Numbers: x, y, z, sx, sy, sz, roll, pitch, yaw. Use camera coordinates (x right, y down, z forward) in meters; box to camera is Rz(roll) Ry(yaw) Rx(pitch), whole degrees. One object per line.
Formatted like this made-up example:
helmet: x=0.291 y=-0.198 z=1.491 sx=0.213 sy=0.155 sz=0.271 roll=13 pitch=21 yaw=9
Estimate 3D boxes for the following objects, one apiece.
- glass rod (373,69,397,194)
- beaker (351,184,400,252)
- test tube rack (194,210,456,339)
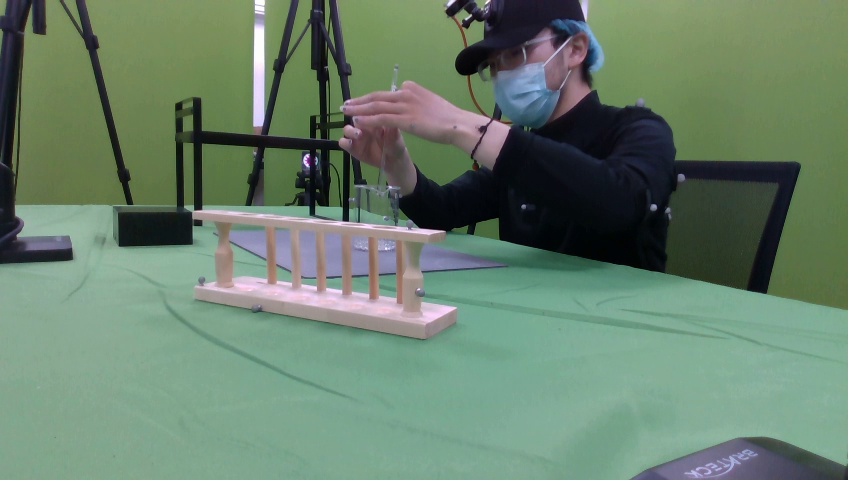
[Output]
glass rod: x=-0.060 y=-0.169 z=0.941 sx=0.008 sy=0.199 sz=0.008 roll=9 pitch=-2 yaw=1
beaker: x=-0.074 y=-0.034 z=0.929 sx=0.074 sy=0.100 sz=0.083 roll=0 pitch=9 yaw=-17
test tube rack: x=-0.093 y=0.023 z=0.546 sx=0.241 sy=0.085 sz=0.067 roll=6 pitch=8 yaw=25
